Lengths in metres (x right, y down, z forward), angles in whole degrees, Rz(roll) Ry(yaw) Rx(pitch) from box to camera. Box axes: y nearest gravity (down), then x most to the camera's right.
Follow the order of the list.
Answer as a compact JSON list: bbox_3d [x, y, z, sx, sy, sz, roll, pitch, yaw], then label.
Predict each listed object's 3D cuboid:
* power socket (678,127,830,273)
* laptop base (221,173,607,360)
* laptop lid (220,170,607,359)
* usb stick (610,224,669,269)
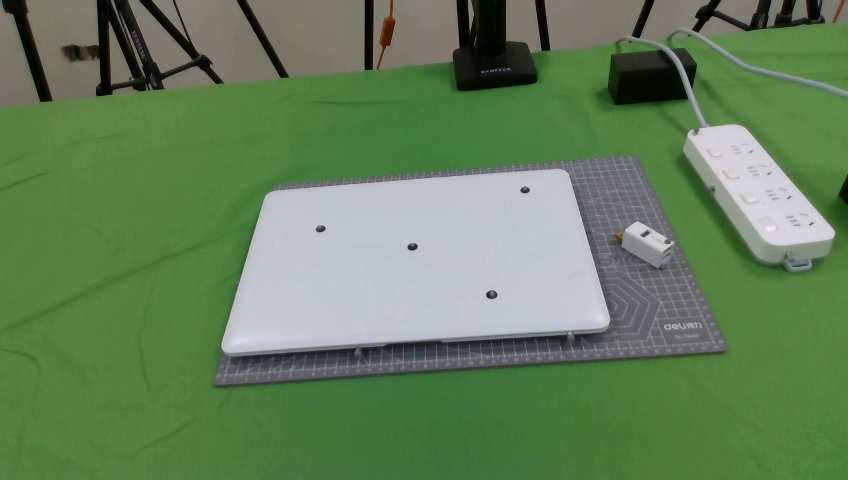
[{"bbox_3d":[0.346,-0.054,0.653,0.072,0.033,0.224,-6,41,0],"label":"power socket"},{"bbox_3d":[-0.013,0.020,0.628,0.354,0.023,0.233,-4,45,3],"label":"laptop base"},{"bbox_3d":[-0.014,0.013,0.618,0.356,0.013,0.239,-3,44,4],"label":"laptop lid"},{"bbox_3d":[0.214,0.003,0.607,0.021,0.027,0.058,-31,44,-25],"label":"usb stick"}]
